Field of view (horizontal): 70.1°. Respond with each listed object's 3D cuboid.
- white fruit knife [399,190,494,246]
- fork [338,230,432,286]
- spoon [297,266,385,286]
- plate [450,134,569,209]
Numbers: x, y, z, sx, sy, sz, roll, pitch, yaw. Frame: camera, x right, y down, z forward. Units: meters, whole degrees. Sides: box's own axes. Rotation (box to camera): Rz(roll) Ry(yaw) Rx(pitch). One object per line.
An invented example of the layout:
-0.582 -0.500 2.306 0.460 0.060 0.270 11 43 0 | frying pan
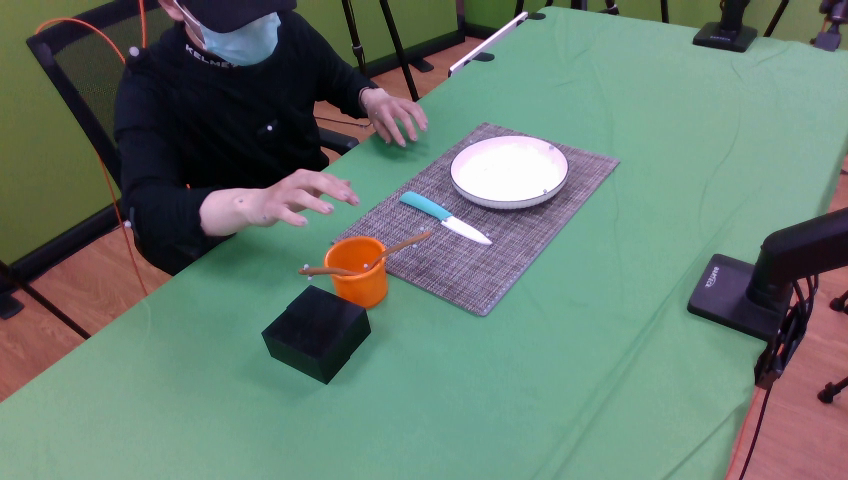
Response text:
0.036 -0.038 1.009 0.205 0.016 0.027 32 84 34 | white fruit knife
-0.058 0.027 0.846 0.206 0.018 0.028 -33 6 43 | fork
-0.111 0.047 0.826 0.041 0.195 0.021 -25 71 23 | spoon
0.149 -0.117 1.066 0.209 0.038 0.208 -4 41 4 | plate
